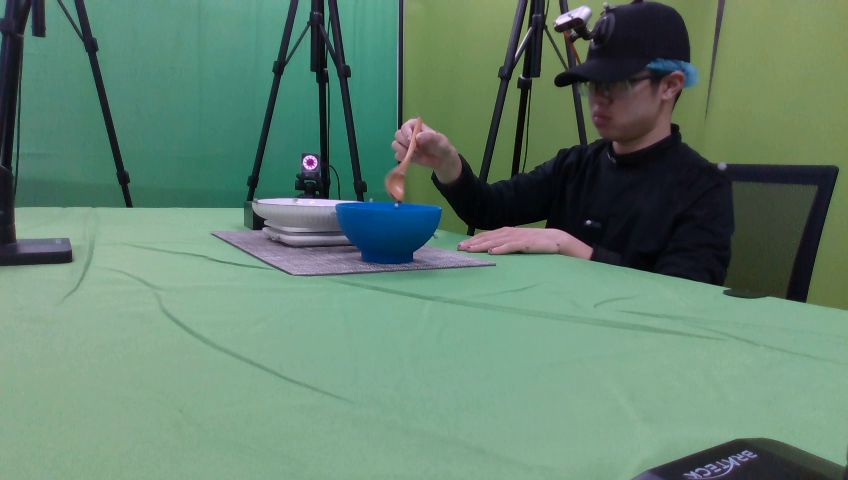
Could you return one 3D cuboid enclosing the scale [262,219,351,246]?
[{"bbox_3d":[-0.160,-0.015,1.027,0.202,0.031,0.148,-2,8,-32],"label":"scale"}]

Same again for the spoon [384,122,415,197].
[{"bbox_3d":[-0.033,-0.140,1.020,0.042,0.193,0.021,19,-39,-9],"label":"spoon"}]

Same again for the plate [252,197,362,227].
[{"bbox_3d":[-0.179,-0.047,1.012,0.209,0.038,0.209,2,6,0],"label":"plate"}]

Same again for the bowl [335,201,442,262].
[{"bbox_3d":[-0.051,-0.012,0.848,0.151,0.077,0.151,2,7,0],"label":"bowl"}]
